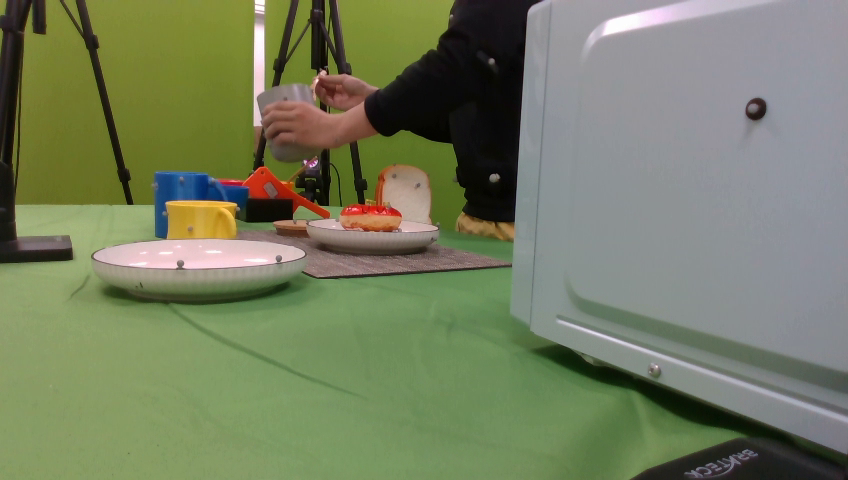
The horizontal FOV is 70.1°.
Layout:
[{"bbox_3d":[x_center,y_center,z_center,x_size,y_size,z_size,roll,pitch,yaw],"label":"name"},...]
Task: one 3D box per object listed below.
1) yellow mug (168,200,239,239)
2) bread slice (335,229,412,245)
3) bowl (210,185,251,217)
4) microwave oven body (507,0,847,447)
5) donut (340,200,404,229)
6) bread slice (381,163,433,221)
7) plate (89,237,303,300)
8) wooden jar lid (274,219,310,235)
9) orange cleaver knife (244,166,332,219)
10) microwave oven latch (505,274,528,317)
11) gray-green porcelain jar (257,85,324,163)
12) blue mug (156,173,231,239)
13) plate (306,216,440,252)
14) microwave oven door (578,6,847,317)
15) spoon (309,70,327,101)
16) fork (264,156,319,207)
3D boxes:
[{"bbox_3d":[-0.320,-0.023,0.904,0.130,0.064,0.100,9,10,36],"label":"yellow mug"},{"bbox_3d":[-0.074,-0.005,0.938,0.105,0.019,0.131,-1,4,-19],"label":"bread slice"},{"bbox_3d":[-0.408,-0.064,1.155,0.151,0.077,0.151,2,8,0],"label":"bowl"},{"bbox_3d":[0.331,-0.042,0.425,0.444,0.260,0.324,-2,8,-31],"label":"microwave oven body"},{"bbox_3d":[-0.081,-0.038,0.945,0.099,0.048,0.099,1,4,0],"label":"donut"},{"bbox_3d":[-0.035,-0.076,1.124,0.107,0.134,0.018,-4,0,-26],"label":"bread slice"},{"bbox_3d":[-0.233,0.029,0.637,0.208,0.039,0.207,2,7,0],"label":"plate"},{"bbox_3d":[-0.213,-0.023,1.080,0.108,0.020,0.108,3,7,0],"label":"wooden jar lid"},{"bbox_3d":[-0.301,-0.089,1.351,0.212,0.077,0.012,32,-11,-34],"label":"orange cleaver knife"},{"bbox_3d":[0.100,0.041,0.473,0.079,0.029,0.030,-2,8,-32],"label":"microwave oven latch"},{"bbox_3d":[-0.253,-0.218,1.161,0.106,0.126,0.106,-15,-1,0],"label":"gray-green porcelain jar"},{"bbox_3d":[-0.381,-0.057,1.004,0.117,0.106,0.082,1,8,-12],"label":"blue mug"},{"bbox_3d":[-0.079,-0.011,0.950,0.209,0.038,0.209,2,8,0],"label":"plate"},{"bbox_3d":[0.294,-0.067,0.570,0.358,0.243,0.039,-3,9,-31],"label":"microwave oven door"},{"bbox_3d":[-0.240,-0.344,1.337,0.042,0.021,0.193,17,37,-2],"label":"spoon"},{"bbox_3d":[-0.331,-0.144,1.506,0.207,0.018,0.028,-42,-19,22],"label":"fork"}]
